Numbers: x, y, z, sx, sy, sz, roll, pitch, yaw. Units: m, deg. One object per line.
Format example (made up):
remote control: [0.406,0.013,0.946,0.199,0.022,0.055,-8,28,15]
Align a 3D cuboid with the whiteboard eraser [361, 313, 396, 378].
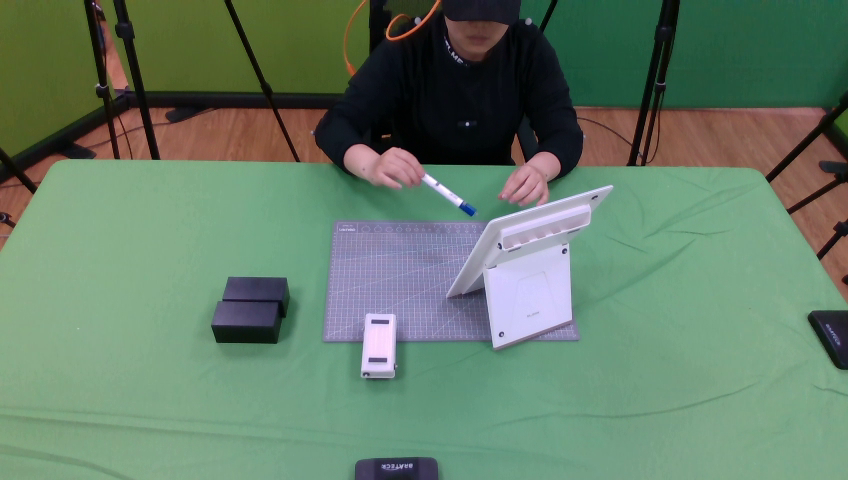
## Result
whiteboard eraser: [-0.075,0.176,1.006,0.055,0.042,0.112,3,50,-4]

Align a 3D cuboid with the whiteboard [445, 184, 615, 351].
whiteboard: [0.187,0.065,0.989,0.217,0.306,0.143,-15,68,-18]

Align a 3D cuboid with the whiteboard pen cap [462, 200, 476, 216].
whiteboard pen cap: [0.085,-0.059,1.144,0.018,0.033,0.018,-21,40,19]

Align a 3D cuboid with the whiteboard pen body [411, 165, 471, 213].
whiteboard pen body: [0.033,-0.094,1.144,0.140,0.017,0.017,38,53,5]
